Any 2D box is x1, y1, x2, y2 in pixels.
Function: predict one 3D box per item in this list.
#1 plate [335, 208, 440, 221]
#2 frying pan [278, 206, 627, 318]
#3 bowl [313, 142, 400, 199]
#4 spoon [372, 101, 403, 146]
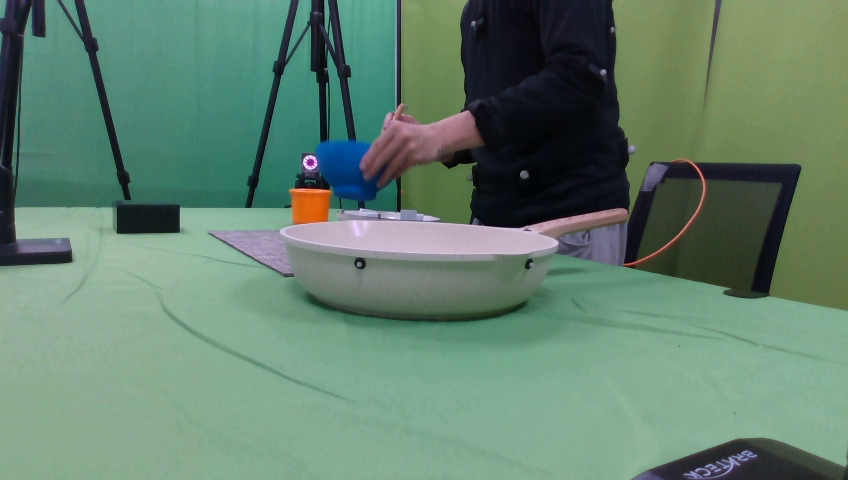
[{"bbox_3d":[-0.073,-0.035,1.196,0.208,0.039,0.207,4,6,0],"label":"plate"},{"bbox_3d":[0.079,0.002,0.705,0.490,0.102,0.305,-12,15,-33],"label":"frying pan"},{"bbox_3d":[-0.118,-0.114,1.043,0.151,0.076,0.151,4,-4,1],"label":"bowl"},{"bbox_3d":[-0.082,-0.207,1.188,0.041,0.022,0.194,3,49,31],"label":"spoon"}]
